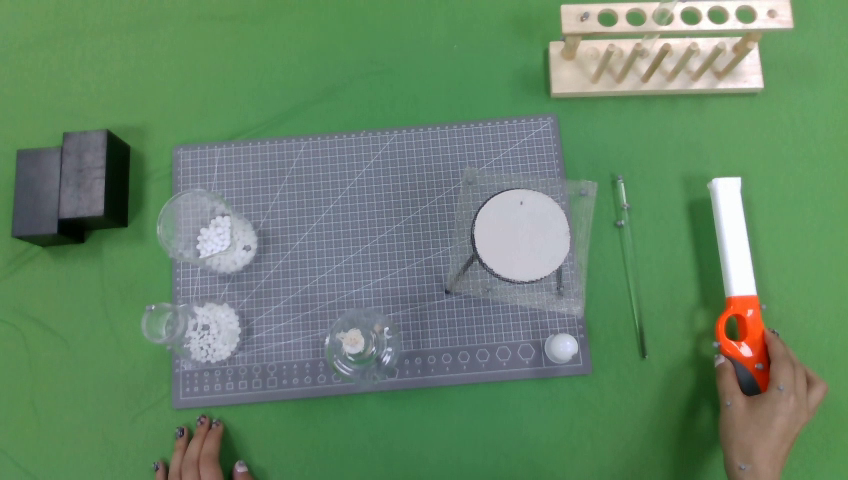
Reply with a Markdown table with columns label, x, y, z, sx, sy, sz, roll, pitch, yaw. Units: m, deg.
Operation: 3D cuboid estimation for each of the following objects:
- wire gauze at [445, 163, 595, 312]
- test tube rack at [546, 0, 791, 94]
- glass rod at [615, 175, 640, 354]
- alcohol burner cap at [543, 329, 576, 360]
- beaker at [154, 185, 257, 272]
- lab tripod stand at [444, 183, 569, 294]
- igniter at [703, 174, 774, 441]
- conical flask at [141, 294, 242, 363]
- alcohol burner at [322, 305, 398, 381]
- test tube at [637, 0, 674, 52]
| label | x | y | z | sx | sy | sz | roll | pitch | yaw |
| --- | --- | --- | --- | --- | --- | --- | --- | --- | --- |
| wire gauze | 0.087 | -0.005 | 0.543 | 0.125 | 0.011 | 0.121 | 9 | 80 | 4 |
| test tube rack | 0.266 | -0.216 | 0.678 | 0.242 | 0.085 | 0.066 | -1 | 78 | 1 |
| glass rod | 0.225 | 0.025 | 0.669 | 0.008 | 0.008 | 0.199 | -3 | 81 | 0 |
| alcohol burner cap | 0.143 | 0.108 | 0.633 | 0.034 | 0.048 | 0.033 | 0 | 77 | 2 |
| beaker | -0.221 | -0.006 | 0.636 | 0.084 | 0.100 | 0.074 | 31 | 81 | 7 |
| lab tripod stand | 0.085 | 0.008 | 0.609 | 0.148 | 0.132 | 0.148 | 0 | 80 | 2 |
| igniter | 0.325 | 0.065 | 0.629 | 0.057 | 0.025 | 0.275 | -2 | 78 | 0 |
| conical flask | -0.236 | 0.085 | 0.606 | 0.075 | 0.122 | 0.075 | 0 | 78 | 1 |
| alcohol burner | -0.066 | 0.101 | 0.603 | 0.078 | 0.119 | 0.077 | -1 | 78 | 4 |
| test tube | 0.247 | -0.240 | 0.633 | 0.017 | 0.151 | 0.017 | -1 | 78 | 4 |
